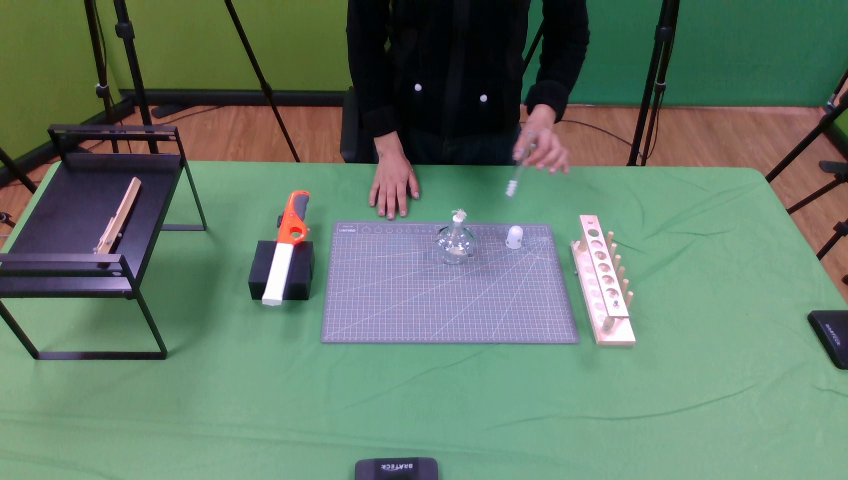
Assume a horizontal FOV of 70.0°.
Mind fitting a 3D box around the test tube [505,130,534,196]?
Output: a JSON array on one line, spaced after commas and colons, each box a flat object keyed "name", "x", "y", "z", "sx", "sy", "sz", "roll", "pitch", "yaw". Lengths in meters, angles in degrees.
[{"name": "test tube", "x": 0.175, "y": -0.139, "z": 1.124, "sx": 0.017, "sy": 0.151, "sz": 0.017, "roll": 7, "pitch": 45, "yaw": -6}]

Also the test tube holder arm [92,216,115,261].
[{"name": "test tube holder arm", "x": -0.479, "y": -0.004, "z": 0.917, "sx": 0.010, "sy": 0.015, "sz": 0.087, "roll": -19, "pitch": 43, "yaw": 20}]

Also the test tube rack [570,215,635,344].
[{"name": "test tube rack", "x": 0.334, "y": 0.067, "z": 1.116, "sx": 0.067, "sy": 0.085, "sz": 0.241, "roll": 1, "pitch": 46, "yaw": -3}]

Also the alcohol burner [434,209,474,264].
[{"name": "alcohol burner", "x": 0.058, "y": -0.011, "z": 1.147, "sx": 0.078, "sy": 0.119, "sz": 0.077, "roll": 3, "pitch": 45, "yaw": -3}]

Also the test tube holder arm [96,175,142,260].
[{"name": "test tube holder arm", "x": -0.474, "y": -0.039, "z": 0.946, "sx": 0.013, "sy": 0.015, "sz": 0.177, "roll": -19, "pitch": 43, "yaw": 19}]

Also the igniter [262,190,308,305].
[{"name": "igniter", "x": -0.252, "y": 0.004, "z": 1.107, "sx": 0.057, "sy": 0.025, "sz": 0.275, "roll": 8, "pitch": 46, "yaw": -6}]

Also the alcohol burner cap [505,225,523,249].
[{"name": "alcohol burner cap", "x": 0.180, "y": -0.009, "z": 1.203, "sx": 0.034, "sy": 0.048, "sz": 0.033, "roll": 2, "pitch": 47, "yaw": -2}]
